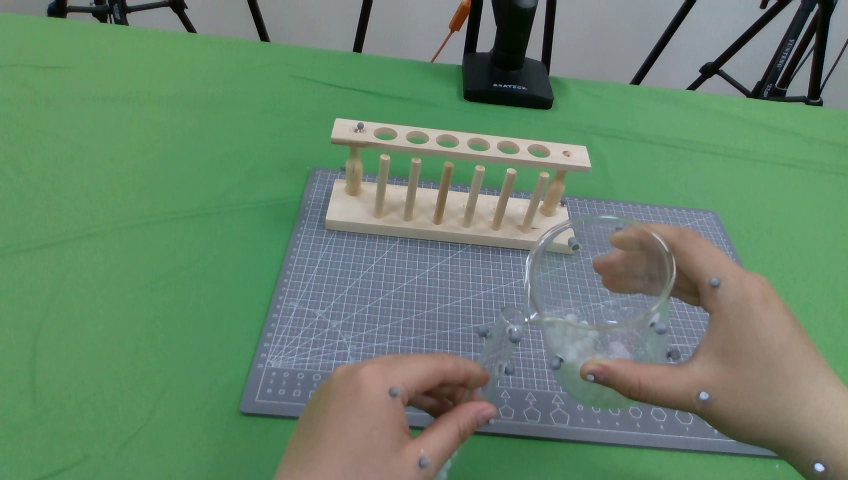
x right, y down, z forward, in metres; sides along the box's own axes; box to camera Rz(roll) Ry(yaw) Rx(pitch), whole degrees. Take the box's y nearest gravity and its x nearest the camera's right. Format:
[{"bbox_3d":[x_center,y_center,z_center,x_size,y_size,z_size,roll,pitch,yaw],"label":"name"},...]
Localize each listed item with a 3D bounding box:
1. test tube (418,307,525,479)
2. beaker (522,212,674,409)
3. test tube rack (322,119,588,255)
[{"bbox_3d":[0.024,0.099,0.347,0.017,0.151,0.017,15,30,-9],"label":"test tube"},{"bbox_3d":[0.098,0.047,0.345,0.084,0.101,0.073,-32,47,-9],"label":"beaker"},{"bbox_3d":[0.028,-0.050,0.585,0.243,0.086,0.066,6,43,-3],"label":"test tube rack"}]
